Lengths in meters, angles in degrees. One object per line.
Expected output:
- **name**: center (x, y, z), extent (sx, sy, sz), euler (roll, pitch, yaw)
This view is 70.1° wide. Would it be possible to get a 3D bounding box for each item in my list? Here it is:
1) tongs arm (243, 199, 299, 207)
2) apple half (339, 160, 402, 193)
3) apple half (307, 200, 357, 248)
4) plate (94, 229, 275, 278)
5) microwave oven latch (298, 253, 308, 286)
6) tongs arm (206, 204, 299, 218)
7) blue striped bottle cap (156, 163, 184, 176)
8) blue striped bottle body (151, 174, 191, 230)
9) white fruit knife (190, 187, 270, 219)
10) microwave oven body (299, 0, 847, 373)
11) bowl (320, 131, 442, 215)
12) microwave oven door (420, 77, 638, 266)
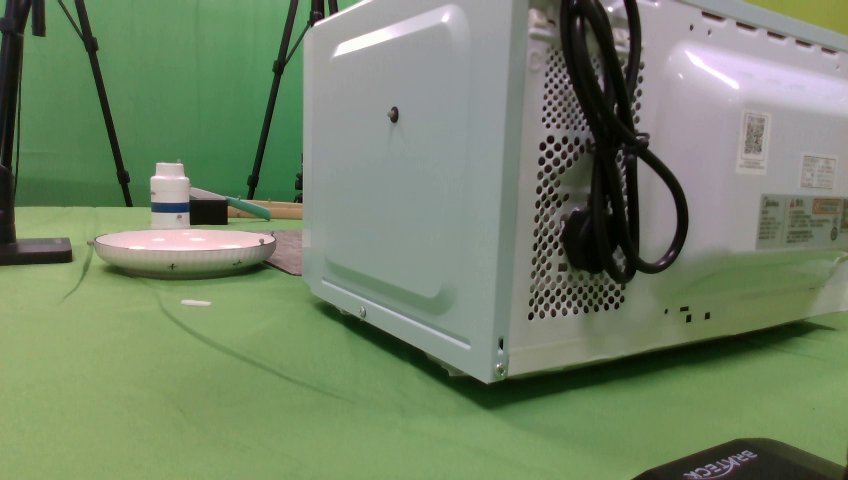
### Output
- **tongs arm**: center (-0.309, -0.078, 1.486), extent (0.385, 0.026, 0.051), euler (3, 7, -1)
- **apple half**: center (-0.060, -0.080, 0.737), extent (0.081, 0.033, 0.081), euler (15, 3, 0)
- **apple half**: center (-0.135, -0.024, 0.941), extent (0.053, 0.074, 0.081), euler (13, 9, 38)
- **plate**: center (-0.291, 0.016, 0.749), extent (0.208, 0.039, 0.207), euler (2, 7, 0)
- **microwave oven latch**: center (-0.081, 0.027, 0.582), extent (0.079, 0.029, 0.030), euler (-2, 7, -33)
- **tongs arm**: center (-0.303, -0.066, 1.406), extent (0.389, 0.028, 0.028), euler (1, 4, -14)
- **blue striped bottle cap**: center (-0.438, -0.122, 1.045), extent (0.044, 0.020, 0.044), euler (5, 6, 0)
- **blue striped bottle body**: center (-0.439, -0.071, 1.052), extent (0.063, 0.120, 0.063), euler (2, 7, 0)
- **white fruit knife**: center (-0.413, -0.081, 1.270), extent (0.208, 0.027, 0.016), euler (17, 13, -41)
- **microwave oven body**: center (0.152, -0.055, 0.542), extent (0.444, 0.260, 0.324), euler (-2, 7, -33)
- **bowl**: center (-0.059, -0.077, 0.736), extent (0.151, 0.077, 0.151), euler (13, 6, -1)
- **microwave oven door**: center (0.134, -0.105, 0.894), extent (0.354, 0.243, 0.039), euler (9, 10, 44)
